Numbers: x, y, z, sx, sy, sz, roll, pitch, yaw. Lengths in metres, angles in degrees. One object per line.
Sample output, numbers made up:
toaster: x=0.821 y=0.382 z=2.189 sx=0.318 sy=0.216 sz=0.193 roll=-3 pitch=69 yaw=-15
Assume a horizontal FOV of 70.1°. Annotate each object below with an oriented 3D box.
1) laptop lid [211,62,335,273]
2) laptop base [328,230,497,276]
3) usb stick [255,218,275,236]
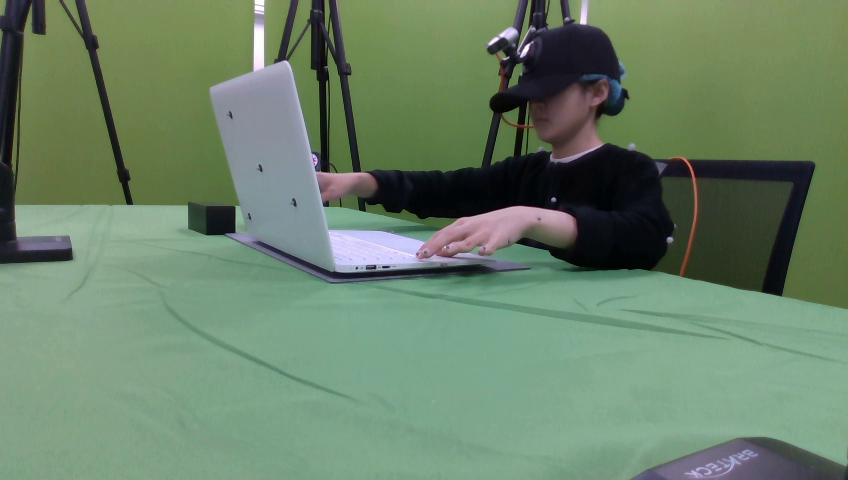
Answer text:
laptop lid: x=-0.211 y=-0.095 z=0.791 sx=0.013 sy=0.241 sz=0.355 roll=-18 pitch=18 yaw=-29
laptop base: x=-0.091 y=0.016 z=0.884 sx=0.237 sy=0.023 sz=0.352 roll=2 pitch=7 yaw=-32
usb stick: x=-0.262 y=-0.021 z=1.003 sx=0.021 sy=0.027 sz=0.059 roll=-2 pitch=10 yaw=-32
